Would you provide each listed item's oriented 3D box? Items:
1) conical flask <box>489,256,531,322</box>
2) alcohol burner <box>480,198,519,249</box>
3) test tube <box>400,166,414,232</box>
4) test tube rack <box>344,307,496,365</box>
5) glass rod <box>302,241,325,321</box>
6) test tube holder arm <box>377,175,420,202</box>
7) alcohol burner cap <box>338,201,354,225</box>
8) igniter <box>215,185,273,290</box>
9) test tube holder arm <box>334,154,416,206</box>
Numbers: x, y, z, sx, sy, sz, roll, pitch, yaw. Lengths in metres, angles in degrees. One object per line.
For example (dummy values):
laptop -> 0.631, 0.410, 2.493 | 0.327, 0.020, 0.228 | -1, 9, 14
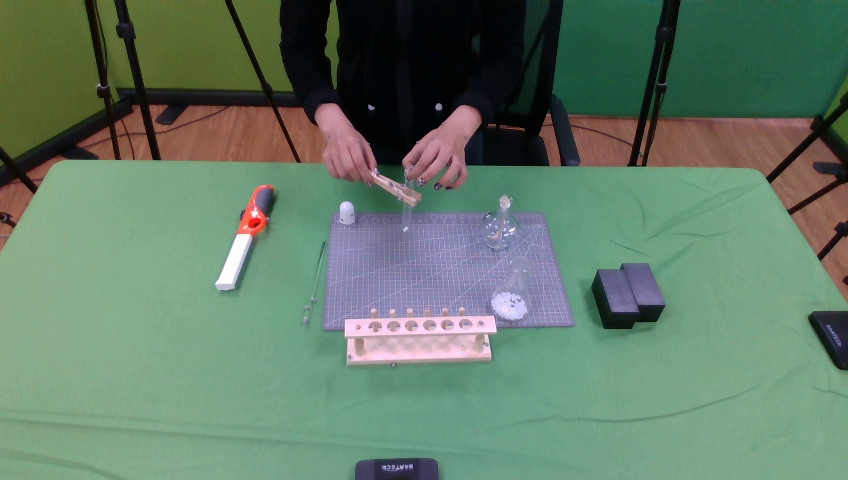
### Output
conical flask -> 0.158, 0.081, 1.061 | 0.075, 0.122, 0.075 | 2, 46, -2
alcohol burner -> 0.150, -0.039, 1.182 | 0.078, 0.119, 0.077 | 3, 47, -3
test tube -> -0.030, -0.067, 1.054 | 0.017, 0.151, 0.017 | 3, 47, -3
test tube rack -> -0.009, 0.154, 1.007 | 0.242, 0.085, 0.066 | -1, 46, -5
glass rod -> -0.204, 0.071, 1.123 | 0.008, 0.008, 0.198 | 4, 44, 1
test tube holder arm -> -0.047, -0.090, 1.054 | 0.087, 0.015, 0.010 | 25, 45, 14
alcohol burner cap -> -0.159, -0.056, 1.224 | 0.034, 0.048, 0.033 | 2, 46, -2
igniter -> -0.347, -0.014, 1.182 | 0.057, 0.025, 0.275 | -1, 45, 8
test tube holder arm -> -0.087, -0.107, 1.063 | 0.178, 0.015, 0.013 | 30, 46, 18
